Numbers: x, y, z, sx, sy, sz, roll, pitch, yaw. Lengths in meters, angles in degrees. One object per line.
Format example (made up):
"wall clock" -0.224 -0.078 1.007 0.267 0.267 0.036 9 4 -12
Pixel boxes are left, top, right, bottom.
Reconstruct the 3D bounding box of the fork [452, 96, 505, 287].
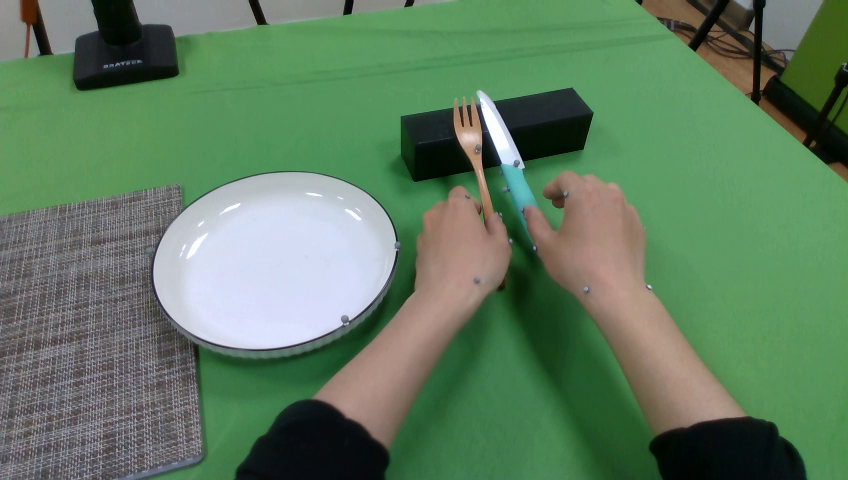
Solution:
"fork" 0.054 -0.052 0.586 0.028 0.019 0.205 -3 64 -14

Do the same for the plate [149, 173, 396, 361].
"plate" -0.128 0.022 0.537 0.208 0.039 0.205 2 47 -1

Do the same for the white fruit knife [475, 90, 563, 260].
"white fruit knife" 0.088 -0.070 0.608 0.027 0.016 0.205 -12 66 -16
